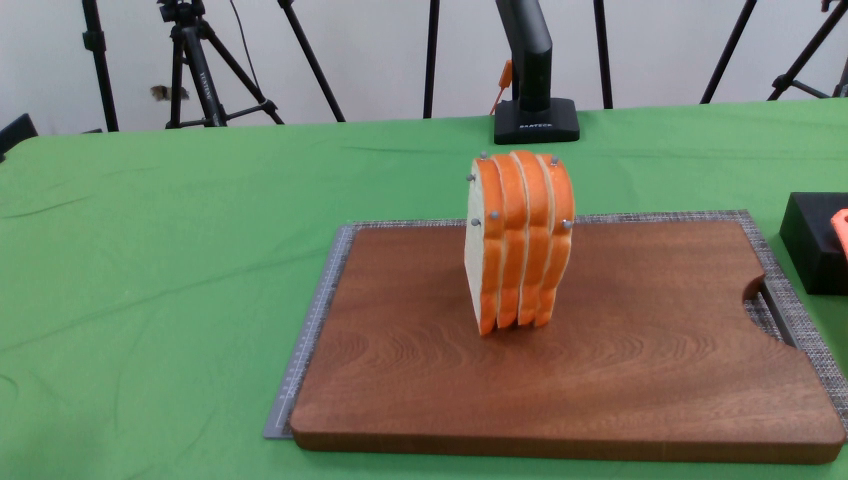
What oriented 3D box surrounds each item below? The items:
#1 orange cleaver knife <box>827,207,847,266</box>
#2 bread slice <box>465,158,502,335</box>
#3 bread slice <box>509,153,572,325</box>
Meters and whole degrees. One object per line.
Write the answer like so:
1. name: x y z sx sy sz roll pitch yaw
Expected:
1. orange cleaver knife: 0.382 0.050 0.497 0.077 0.012 0.210 9 58 14
2. bread slice: 0.050 -0.003 0.529 0.018 0.135 0.106 -3 33 -3
3. bread slice: 0.100 -0.006 0.527 0.019 0.132 0.104 0 38 -7
